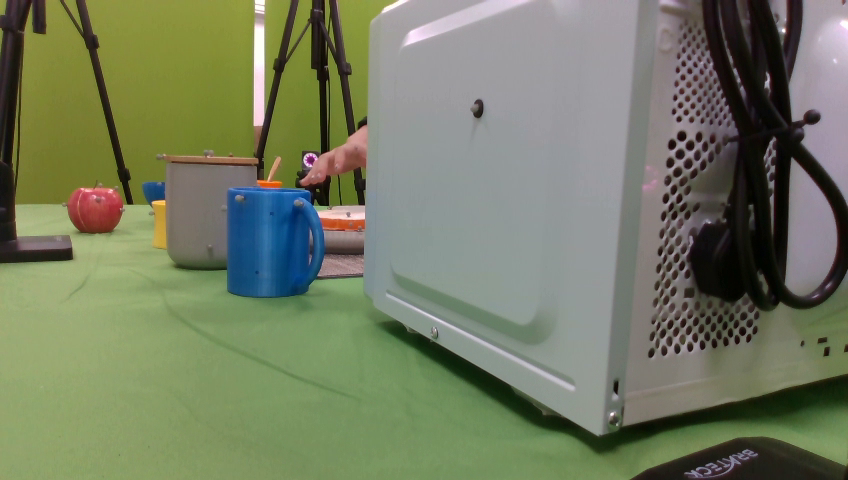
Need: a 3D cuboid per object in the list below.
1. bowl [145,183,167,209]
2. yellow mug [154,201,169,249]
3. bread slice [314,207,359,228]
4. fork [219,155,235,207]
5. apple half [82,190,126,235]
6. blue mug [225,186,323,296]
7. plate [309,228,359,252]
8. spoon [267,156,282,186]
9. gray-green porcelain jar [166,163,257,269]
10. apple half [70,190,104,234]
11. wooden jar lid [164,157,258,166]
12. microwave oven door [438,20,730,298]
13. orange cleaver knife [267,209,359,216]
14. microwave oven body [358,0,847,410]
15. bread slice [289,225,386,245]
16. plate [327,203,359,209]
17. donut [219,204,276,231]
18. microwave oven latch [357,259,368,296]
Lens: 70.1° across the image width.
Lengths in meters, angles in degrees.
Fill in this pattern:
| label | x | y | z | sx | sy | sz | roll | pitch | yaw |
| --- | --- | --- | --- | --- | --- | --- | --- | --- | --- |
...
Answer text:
| label | x | y | z | sx | sy | sz | roll | pitch | yaw |
| --- | --- | --- | --- | --- | --- | --- | --- | --- | --- |
| bowl | -0.459 | -0.068 | 1.175 | 0.151 | 0.077 | 0.151 | 3 | 7 | 0 |
| yellow mug | -0.338 | -0.022 | 0.899 | 0.130 | 0.064 | 0.100 | 8 | 9 | 34 |
| bread slice | -0.127 | -0.036 | 0.933 | 0.134 | 0.018 | 0.107 | 5 | 11 | 27 |
| fork | -0.459 | -0.134 | 1.415 | 0.028 | 0.018 | 0.207 | -1 | -34 | -24 |
| apple half | -0.517 | -0.046 | 0.994 | 0.032 | 0.081 | 0.081 | 0 | 6 | 26 |
| blue mug | -0.148 | 0.000 | 0.618 | 0.116 | 0.106 | 0.083 | 7 | 9 | 33 |
| plate | -0.130 | -0.011 | 0.945 | 0.208 | 0.039 | 0.207 | 2 | 8 | 0 |
| spoon | -0.391 | -0.150 | 1.548 | 0.041 | 0.193 | 0.021 | 3 | -37 | 7 |
| gray-green porcelain jar | -0.263 | -0.031 | 0.754 | 0.106 | 0.126 | 0.106 | 2 | 7 | 0 |
| apple half | -0.552 | -0.047 | 1.009 | 0.053 | 0.074 | 0.081 | -1 | 9 | 26 |
| wooden jar lid | -0.261 | -0.093 | 0.746 | 0.108 | 0.020 | 0.108 | 0 | 9 | 0 |
| microwave oven door | 0.181 | -0.076 | 0.618 | 0.358 | 0.243 | 0.039 | -2 | 8 | -28 |
| orange cleaver knife | -0.259 | -0.064 | 1.423 | 0.212 | 0.012 | 0.077 | -4 | 3 | -30 |
| microwave oven body | 0.210 | -0.051 | 0.471 | 0.444 | 0.260 | 0.324 | -1 | 7 | -28 |
| bread slice | -0.125 | -0.009 | 0.938 | 0.131 | 0.019 | 0.105 | 6 | 9 | 31 |
| plate | -0.102 | -0.053 | 1.299 | 0.209 | 0.038 | 0.209 | 2 | 8 | 0 |
| donut | -0.316 | -0.039 | 1.083 | 0.099 | 0.048 | 0.099 | 2 | 7 | 0 |
| microwave oven latch | -0.019 | 0.031 | 0.528 | 0.079 | 0.029 | 0.030 | -1 | 7 | -25 |
